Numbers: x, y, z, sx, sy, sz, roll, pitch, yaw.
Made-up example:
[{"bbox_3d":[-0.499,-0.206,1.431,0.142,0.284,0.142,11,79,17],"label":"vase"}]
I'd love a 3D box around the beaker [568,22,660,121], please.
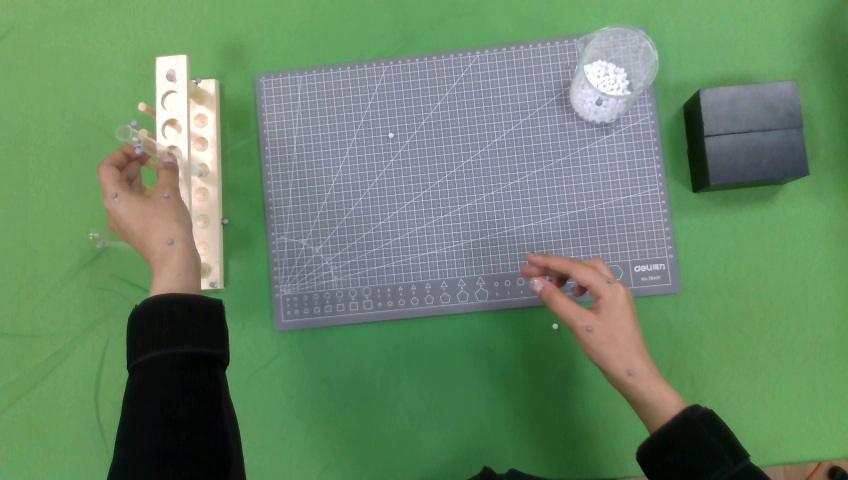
[{"bbox_3d":[0.189,-0.172,0.631,0.084,0.100,0.074,32,88,7],"label":"beaker"}]

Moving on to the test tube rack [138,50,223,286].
[{"bbox_3d":[-0.271,-0.072,0.662,0.067,0.085,0.242,-3,86,3],"label":"test tube rack"}]

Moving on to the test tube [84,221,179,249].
[{"bbox_3d":[-0.291,-0.002,0.613,0.017,0.151,0.017,-1,84,6],"label":"test tube"}]

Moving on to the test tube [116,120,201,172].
[{"bbox_3d":[-0.263,-0.092,0.613,0.017,0.150,0.017,0,84,4],"label":"test tube"}]
